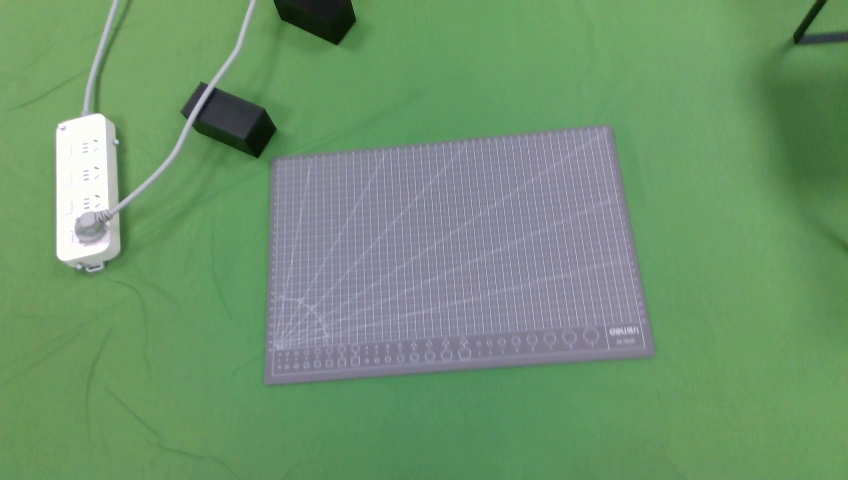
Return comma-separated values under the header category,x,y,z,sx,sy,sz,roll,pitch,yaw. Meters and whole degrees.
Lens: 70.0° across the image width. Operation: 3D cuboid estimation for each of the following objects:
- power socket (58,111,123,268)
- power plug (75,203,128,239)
category,x,y,z,sx,sy,sz,roll,pitch,yaw
power socket,-0.441,-0.073,0.801,0.072,0.033,0.225,-13,69,-1
power plug,-0.398,-0.020,0.758,0.072,0.053,0.035,-2,69,1
